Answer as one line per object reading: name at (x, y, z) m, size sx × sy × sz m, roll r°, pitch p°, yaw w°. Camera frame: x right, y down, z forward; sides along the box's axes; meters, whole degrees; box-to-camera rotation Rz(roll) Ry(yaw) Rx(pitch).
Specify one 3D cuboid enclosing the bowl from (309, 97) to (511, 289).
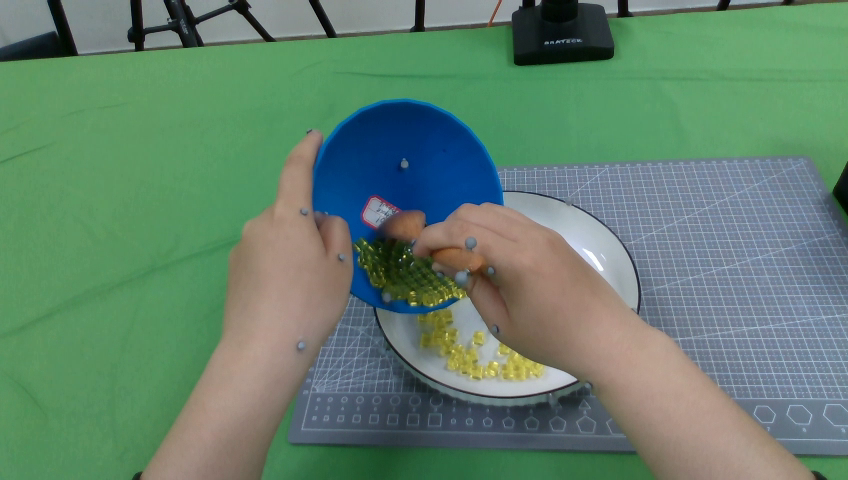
bowl at (-0.021, -0.021, 0.438) m, size 0.152 × 0.077 × 0.150 m, roll 19°, pitch 49°, yaw -22°

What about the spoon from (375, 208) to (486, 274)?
spoon at (0.003, 0.000, 0.378) m, size 0.041 × 0.022 × 0.192 m, roll -23°, pitch 16°, yaw -11°

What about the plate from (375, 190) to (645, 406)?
plate at (0.066, 0.042, 0.487) m, size 0.207 × 0.039 × 0.205 m, roll -4°, pitch 47°, yaw 5°
